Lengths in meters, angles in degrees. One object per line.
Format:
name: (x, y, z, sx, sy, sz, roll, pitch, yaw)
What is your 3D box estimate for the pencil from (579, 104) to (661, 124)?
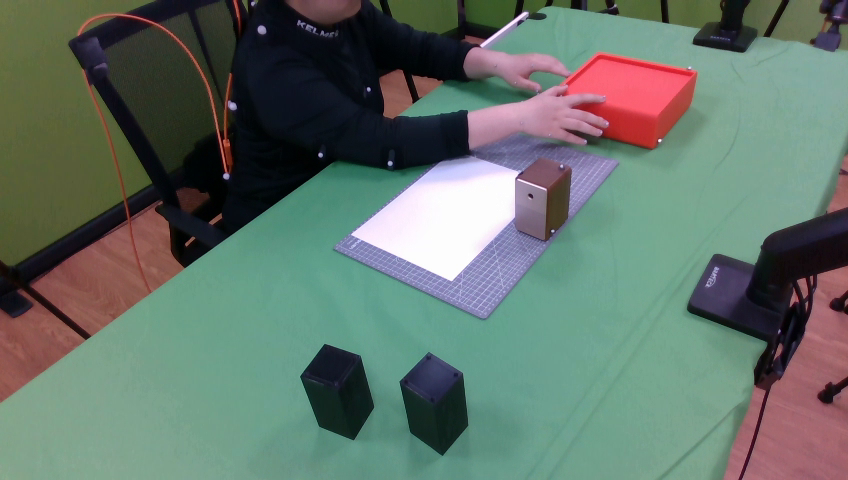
pencil: (0.395, -0.255, 1.212, 0.195, 0.012, 0.012, -14, 40, -17)

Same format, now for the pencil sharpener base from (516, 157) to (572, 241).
pencil sharpener base: (0.189, -0.065, 0.948, 0.061, 0.107, 0.077, 24, 49, 33)

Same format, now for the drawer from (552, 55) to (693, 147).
drawer: (0.389, -0.279, 1.196, 0.210, 0.073, 0.195, 24, 49, 30)

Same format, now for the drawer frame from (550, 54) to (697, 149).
drawer frame: (0.391, -0.280, 1.194, 0.212, 0.083, 0.202, 23, 48, 30)

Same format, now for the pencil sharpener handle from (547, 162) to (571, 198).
pencil sharpener handle: (0.221, -0.101, 0.967, 0.035, 0.068, 0.031, 18, 46, 38)
